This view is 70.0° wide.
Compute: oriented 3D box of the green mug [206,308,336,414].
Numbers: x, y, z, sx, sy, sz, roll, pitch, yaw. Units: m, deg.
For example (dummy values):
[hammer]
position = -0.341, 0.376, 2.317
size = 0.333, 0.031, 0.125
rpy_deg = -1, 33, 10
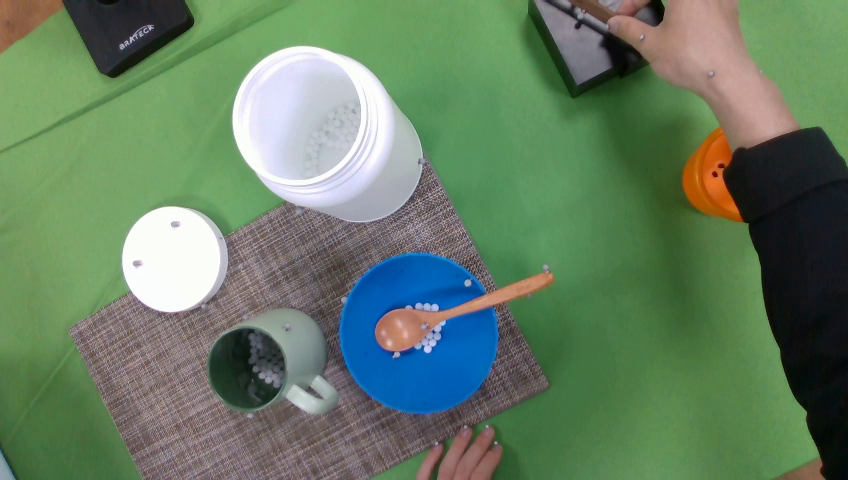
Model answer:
[green mug]
position = -0.141, 0.126, 0.600
size = 0.125, 0.105, 0.092
rpy_deg = 35, 94, 6

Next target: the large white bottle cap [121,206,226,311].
[large white bottle cap]
position = -0.273, 0.020, 0.660
size = 0.114, 0.018, 0.114
rpy_deg = 0, 90, 8

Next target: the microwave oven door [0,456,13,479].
[microwave oven door]
position = -0.446, 0.354, 0.560
size = 0.039, 0.244, 0.355
rpy_deg = -31, 86, 7

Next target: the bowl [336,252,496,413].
[bowl]
position = -0.003, 0.086, 0.594
size = 0.151, 0.077, 0.151
rpy_deg = 0, 91, 8

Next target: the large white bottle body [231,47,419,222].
[large white bottle body]
position = -0.082, -0.089, 0.549
size = 0.130, 0.185, 0.130
rpy_deg = -1, 87, 10

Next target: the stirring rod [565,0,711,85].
[stirring rod]
position = 0.177, -0.189, 0.538
size = 0.176, 0.014, 0.006
rpy_deg = 34, 63, 5

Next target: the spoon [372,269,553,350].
[spoon]
position = 0.031, 0.065, 0.561
size = 0.193, 0.022, 0.041
rpy_deg = -22, 90, 31
